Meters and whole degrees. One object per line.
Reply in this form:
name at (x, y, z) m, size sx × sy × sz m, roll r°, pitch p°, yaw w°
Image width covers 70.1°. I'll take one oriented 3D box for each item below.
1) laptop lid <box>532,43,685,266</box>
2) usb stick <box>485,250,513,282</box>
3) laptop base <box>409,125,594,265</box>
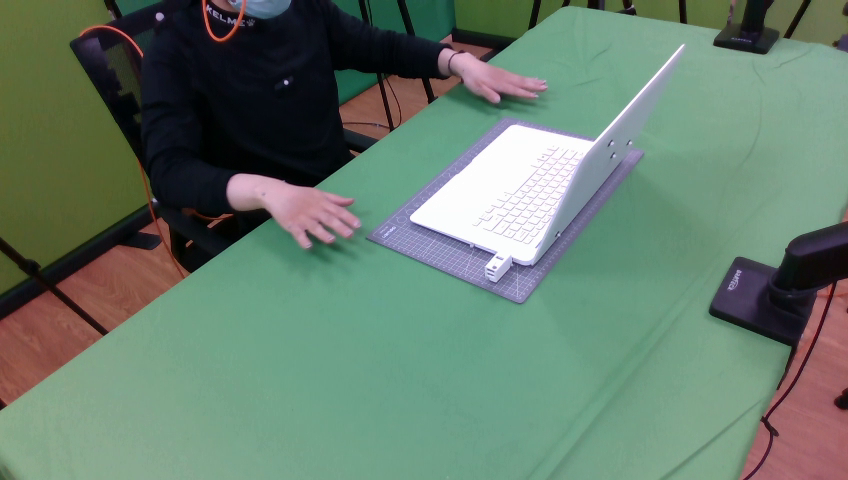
laptop lid at (0.280, -0.130, 0.907) m, size 0.013 × 0.242 × 0.357 m, roll 34°, pitch 52°, yaw 17°
usb stick at (0.116, 0.034, 0.895) m, size 0.021 × 0.027 × 0.059 m, roll 22°, pitch 47°, yaw 32°
laptop base at (0.168, -0.094, 1.056) m, size 0.233 × 0.023 × 0.355 m, roll 19°, pitch 47°, yaw 32°
